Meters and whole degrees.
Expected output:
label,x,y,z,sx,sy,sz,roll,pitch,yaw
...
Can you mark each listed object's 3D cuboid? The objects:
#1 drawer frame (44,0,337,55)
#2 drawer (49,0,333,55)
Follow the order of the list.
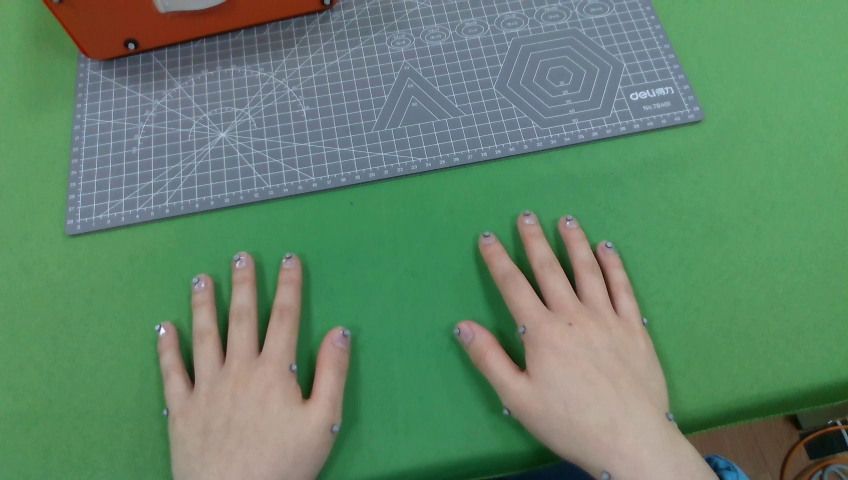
label,x,y,z,sx,sy,sz,roll,pitch,yaw
drawer frame,-0.190,-0.268,0.481,0.202,0.083,0.211,-16,65,-5
drawer,-0.188,-0.265,0.481,0.194,0.074,0.210,-15,65,-4
